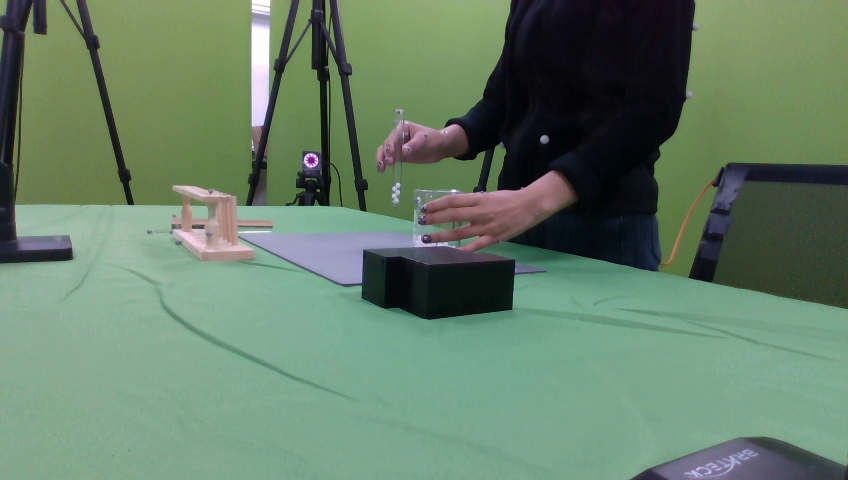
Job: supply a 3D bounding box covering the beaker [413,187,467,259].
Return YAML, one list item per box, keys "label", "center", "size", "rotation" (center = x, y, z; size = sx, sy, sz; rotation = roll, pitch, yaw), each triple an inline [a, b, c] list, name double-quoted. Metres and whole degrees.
- label: "beaker"
  center: [0.019, -0.026, 0.878]
  size: [0.074, 0.100, 0.083]
  rotation: [-1, 8, -27]

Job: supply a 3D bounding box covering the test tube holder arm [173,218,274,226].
- label: "test tube holder arm"
  center: [-0.371, -0.033, 1.128]
  size: [0.179, 0.015, 0.013]
  rotation: [-1, -21, -25]

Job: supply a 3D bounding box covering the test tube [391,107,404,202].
- label: "test tube"
  center: [-0.042, -0.135, 0.962]
  size: [0.017, 0.150, 0.017]
  rotation: [3, 8, 0]

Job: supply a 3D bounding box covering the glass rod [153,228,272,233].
- label: "glass rod"
  center: [-0.368, -0.017, 1.065]
  size: [0.201, 0.008, 0.008]
  rotation: [-2, 8, -27]

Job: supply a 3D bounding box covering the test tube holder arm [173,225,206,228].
- label: "test tube holder arm"
  center: [-0.414, -0.030, 1.113]
  size: [0.088, 0.015, 0.010]
  rotation: [-1, -21, -25]

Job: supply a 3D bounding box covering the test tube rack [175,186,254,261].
- label: "test tube rack"
  center: [-0.314, -0.031, 0.889]
  size: [0.067, 0.085, 0.241]
  rotation: [-2, 8, -30]
